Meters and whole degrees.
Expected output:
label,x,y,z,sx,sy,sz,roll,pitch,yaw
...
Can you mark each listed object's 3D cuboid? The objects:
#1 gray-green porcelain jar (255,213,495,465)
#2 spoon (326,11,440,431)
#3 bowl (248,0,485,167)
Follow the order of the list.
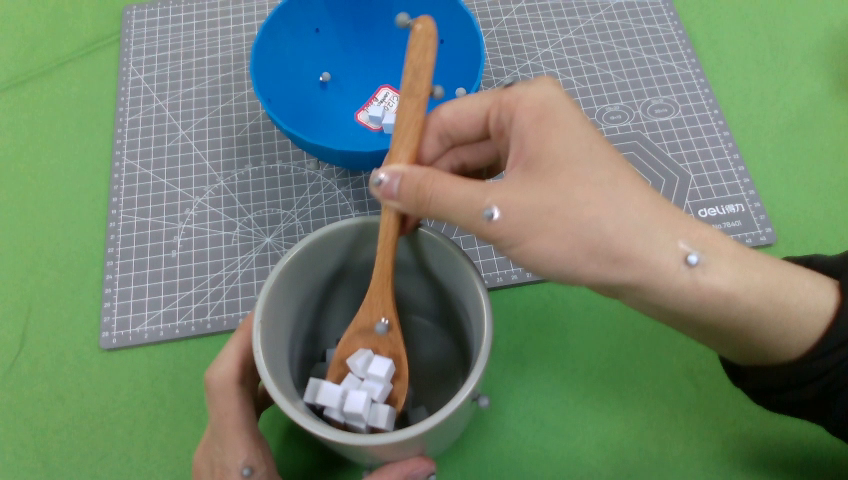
label,x,y,z,sx,sy,sz,roll,pitch,yaw
gray-green porcelain jar,-0.019,0.060,0.319,0.106,0.127,0.105,-1,65,2
spoon,-0.014,-0.003,0.273,0.041,0.021,0.194,14,105,16
bowl,-0.035,-0.104,0.418,0.151,0.077,0.150,0,65,1
